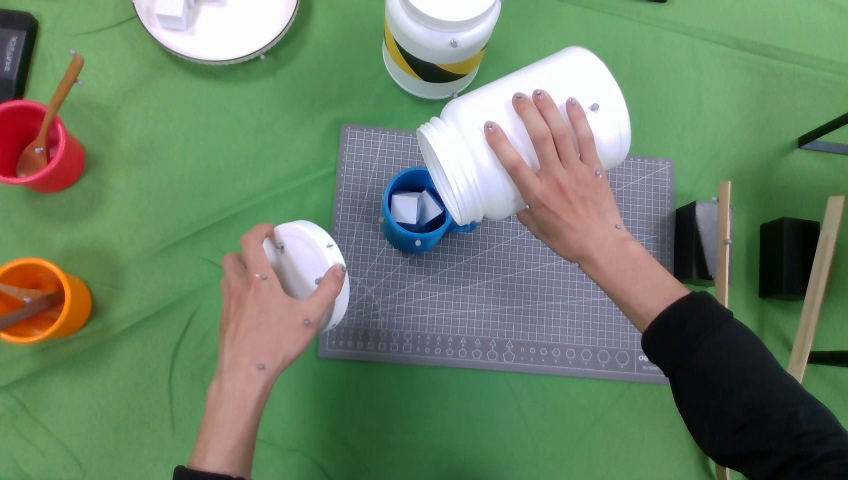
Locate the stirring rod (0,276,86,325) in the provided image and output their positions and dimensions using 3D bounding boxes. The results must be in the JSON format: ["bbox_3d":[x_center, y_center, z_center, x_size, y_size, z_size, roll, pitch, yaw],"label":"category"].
[{"bbox_3d":[-0.441,0.079,0.640,0.014,0.006,0.176,52,37,0],"label":"stirring rod"}]

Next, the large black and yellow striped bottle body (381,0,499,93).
[{"bbox_3d":[0.016,-0.271,0.724,0.131,0.184,0.130,1,80,-6],"label":"large black and yellow striped bottle body"}]

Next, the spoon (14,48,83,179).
[{"bbox_3d":[-0.418,-0.137,0.674,0.041,0.021,0.194,51,123,7],"label":"spoon"}]

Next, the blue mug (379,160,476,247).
[{"bbox_3d":[0.005,-0.037,0.722,0.117,0.106,0.082,13,79,-4],"label":"blue mug"}]

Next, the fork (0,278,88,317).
[{"bbox_3d":[-0.461,0.039,0.638,0.209,0.018,0.028,34,72,-44],"label":"fork"}]

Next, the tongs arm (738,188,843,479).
[{"bbox_3d":[0.459,0.122,0.753,0.028,0.027,0.387,14,91,-12],"label":"tongs arm"}]

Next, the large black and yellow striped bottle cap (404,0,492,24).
[{"bbox_3d":[0.025,-0.287,0.643,0.115,0.019,0.114,1,82,-7],"label":"large black and yellow striped bottle cap"}]

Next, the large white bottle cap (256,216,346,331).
[{"bbox_3d":[-0.123,0.034,0.596,0.018,0.114,0.114,-15,80,-53],"label":"large white bottle cap"}]

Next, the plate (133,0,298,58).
[{"bbox_3d":[-0.263,-0.327,0.776,0.208,0.039,0.207,1,81,-6],"label":"plate"}]

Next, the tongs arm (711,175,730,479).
[{"bbox_3d":[0.378,0.114,0.743,0.051,0.026,0.385,1,93,-9],"label":"tongs arm"}]

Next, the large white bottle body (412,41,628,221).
[{"bbox_3d":[0.093,-0.106,0.613,0.185,0.131,0.130,-25,84,-4],"label":"large white bottle body"}]
